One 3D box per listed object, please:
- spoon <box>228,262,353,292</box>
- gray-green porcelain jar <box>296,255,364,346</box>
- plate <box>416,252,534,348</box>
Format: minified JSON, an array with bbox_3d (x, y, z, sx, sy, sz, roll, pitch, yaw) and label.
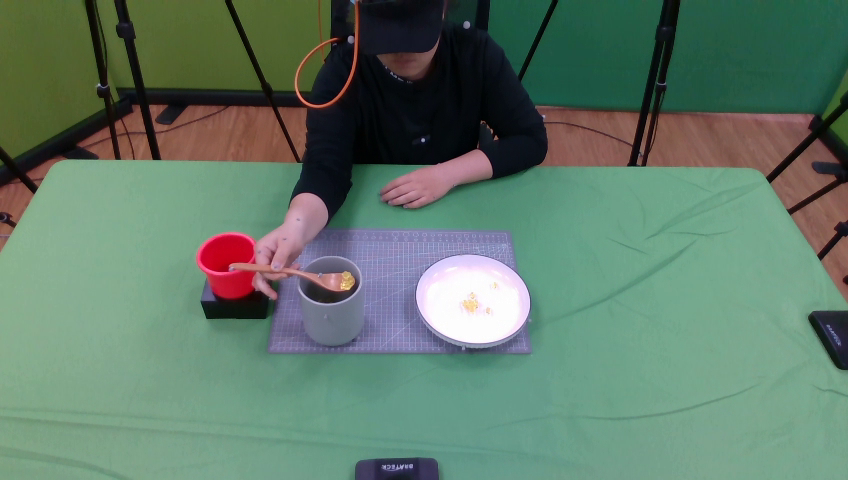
[{"bbox_3d":[-0.206,0.053,0.949,0.194,0.022,0.041,13,41,-19],"label":"spoon"},{"bbox_3d":[-0.153,0.106,1.008,0.106,0.127,0.105,2,46,-2],"label":"gray-green porcelain jar"},{"bbox_3d":[0.090,0.109,1.084,0.208,0.039,0.206,2,46,-2],"label":"plate"}]
